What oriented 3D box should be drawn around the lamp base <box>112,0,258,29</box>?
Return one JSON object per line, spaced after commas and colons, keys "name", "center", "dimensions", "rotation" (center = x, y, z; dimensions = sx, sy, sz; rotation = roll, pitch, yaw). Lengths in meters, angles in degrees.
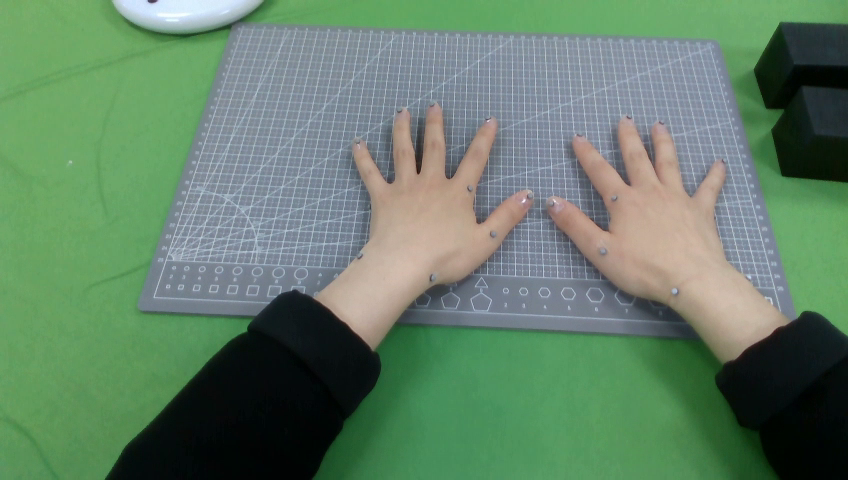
{"name": "lamp base", "center": [-0.235, -0.311, 0.531], "dimensions": [0.160, 0.182, 0.177], "rotation": [-35, 62, -19]}
